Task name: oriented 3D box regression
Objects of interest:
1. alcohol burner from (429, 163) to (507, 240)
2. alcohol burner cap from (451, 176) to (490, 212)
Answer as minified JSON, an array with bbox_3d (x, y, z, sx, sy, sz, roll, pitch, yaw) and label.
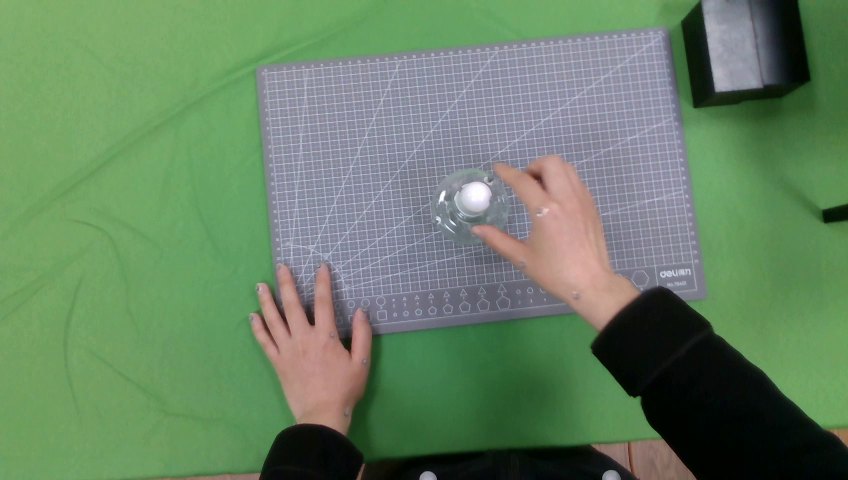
[{"bbox_3d":[0.044,-0.040,0.587,0.078,0.119,0.078,0,86,0],"label":"alcohol burner"},{"bbox_3d":[0.044,-0.044,0.551,0.034,0.048,0.034,0,88,-5],"label":"alcohol burner cap"}]
